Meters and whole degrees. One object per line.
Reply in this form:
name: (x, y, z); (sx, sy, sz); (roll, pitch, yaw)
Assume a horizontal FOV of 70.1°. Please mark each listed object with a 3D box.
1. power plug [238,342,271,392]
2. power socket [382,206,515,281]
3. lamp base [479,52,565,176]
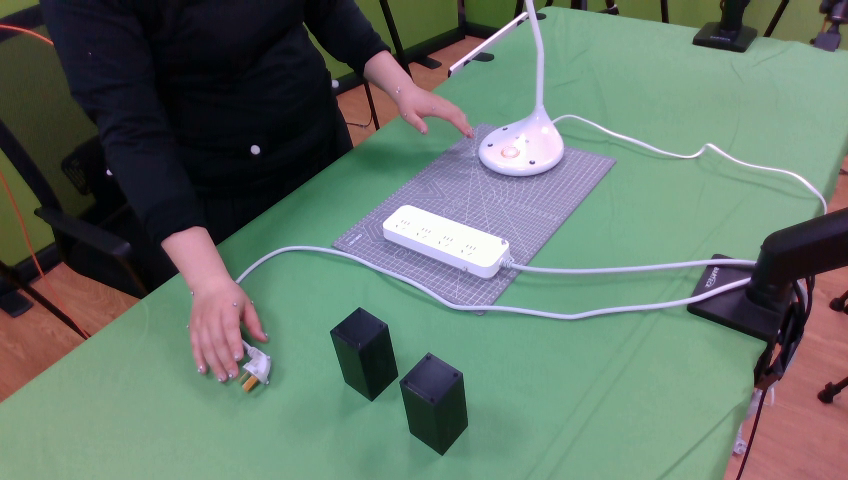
power plug: (-0.230, 0.171, 0.800); (0.072, 0.035, 0.053); (9, 50, 49)
power socket: (0.032, 0.002, 0.950); (0.225, 0.033, 0.072); (21, 49, 29)
lamp base: (0.182, -0.235, 1.093); (0.159, 0.181, 0.179); (18, 44, 27)
